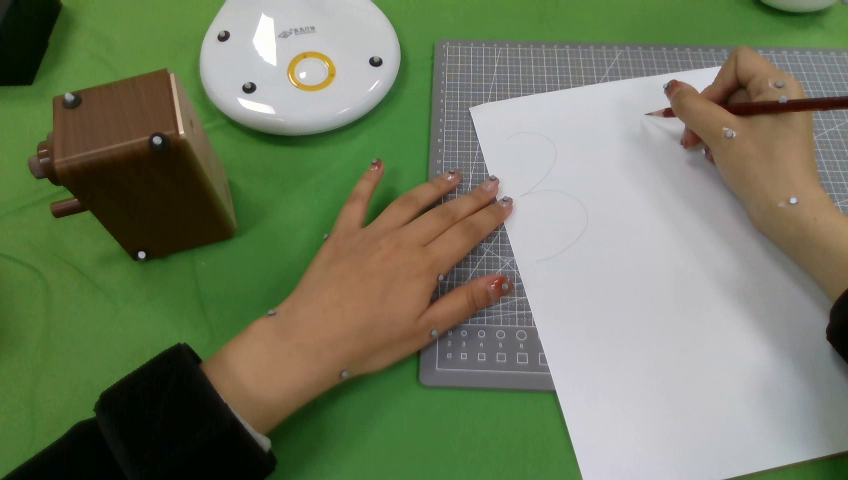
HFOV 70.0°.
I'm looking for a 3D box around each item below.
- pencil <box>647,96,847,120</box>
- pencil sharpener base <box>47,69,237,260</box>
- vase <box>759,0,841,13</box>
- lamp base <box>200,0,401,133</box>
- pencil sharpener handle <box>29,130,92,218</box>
[{"bbox_3d":[0.217,-0.083,0.381,0.012,0.012,0.192,-37,23,-19],"label":"pencil"},{"bbox_3d":[-0.173,-0.043,0.383,0.077,0.108,0.061,-16,61,-8],"label":"pencil sharpener base"},{"bbox_3d":[0.324,-0.279,0.464,0.098,0.201,0.097,-1,58,2],"label":"vase"},{"bbox_3d":[-0.106,-0.198,0.430,0.161,0.182,0.177,-26,60,-14],"label":"lamp base"},{"bbox_3d":[-0.222,-0.035,0.365,0.031,0.068,0.035,-16,63,-8],"label":"pencil sharpener handle"}]
